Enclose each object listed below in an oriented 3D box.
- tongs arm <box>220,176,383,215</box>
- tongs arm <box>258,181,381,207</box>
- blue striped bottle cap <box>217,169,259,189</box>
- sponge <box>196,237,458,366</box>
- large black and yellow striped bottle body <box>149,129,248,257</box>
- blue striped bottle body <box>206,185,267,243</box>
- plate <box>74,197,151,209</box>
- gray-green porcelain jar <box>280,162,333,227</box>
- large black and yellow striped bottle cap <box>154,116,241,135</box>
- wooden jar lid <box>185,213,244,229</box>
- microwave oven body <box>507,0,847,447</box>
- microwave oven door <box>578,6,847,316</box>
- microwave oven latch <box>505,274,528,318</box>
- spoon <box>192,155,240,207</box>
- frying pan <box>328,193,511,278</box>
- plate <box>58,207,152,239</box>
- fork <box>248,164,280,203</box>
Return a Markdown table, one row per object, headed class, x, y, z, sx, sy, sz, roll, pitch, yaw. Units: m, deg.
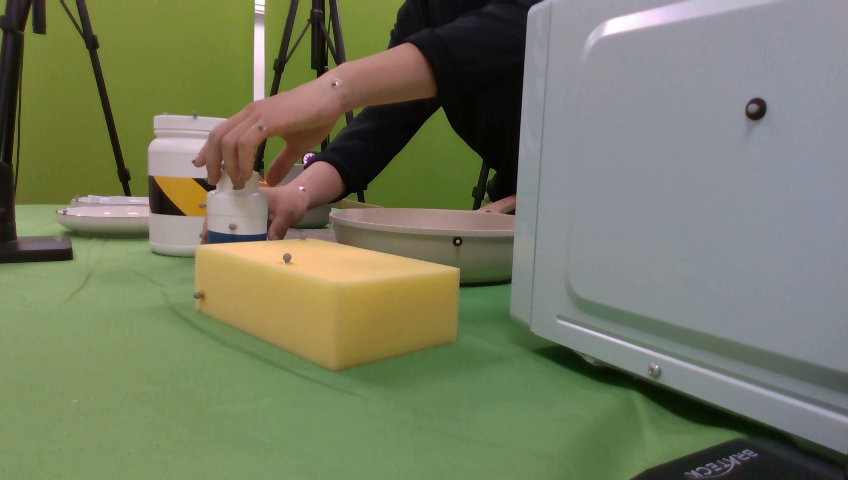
| class | x | y | z | sx | sy | sz | roll | pitch | yaw |
| --- | --- | --- | --- | --- | --- | --- | --- | --- | --- |
| tongs arm | -0.285 | -0.104 | 1.445 | 0.389 | 0.027 | 0.028 | 9 | -4 | -23 |
| tongs arm | -0.241 | -0.095 | 1.373 | 0.387 | 0.026 | 0.050 | 9 | 0 | -37 |
| blue striped bottle cap | -0.202 | -0.066 | 0.656 | 0.044 | 0.020 | 0.044 | -1 | 9 | 0 |
| sponge | -0.087 | 0.039 | 0.500 | 0.206 | 0.061 | 0.119 | 8 | 9 | 44 |
| large black and yellow striped bottle body | -0.315 | -0.075 | 0.854 | 0.131 | 0.184 | 0.130 | 2 | 7 | 0 |
| blue striped bottle body | -0.205 | -0.016 | 0.662 | 0.063 | 0.120 | 0.063 | 2 | 7 | 0 |
| plate | -0.596 | -0.062 | 1.238 | 0.208 | 0.039 | 0.207 | 2 | 8 | 0 |
| gray-green porcelain jar | -0.238 | -0.092 | 1.221 | 0.106 | 0.126 | 0.106 | 2 | 7 | 0 |
| large black and yellow striped bottle cap | -0.314 | -0.158 | 0.843 | 0.115 | 0.019 | 0.115 | 3 | 7 | 0 |
| wooden jar lid | -0.404 | -0.037 | 1.169 | 0.108 | 0.020 | 0.108 | 3 | 7 | 0 |
| microwave oven body | 0.331 | -0.042 | 0.425 | 0.444 | 0.260 | 0.324 | -2 | 8 | -31 |
| microwave oven door | 0.294 | -0.067 | 0.570 | 0.358 | 0.243 | 0.039 | -3 | 9 | -31 |
| microwave oven latch | 0.100 | 0.041 | 0.473 | 0.079 | 0.029 | 0.030 | -2 | 8 | -31 |
| spoon | -0.489 | -0.135 | 1.417 | 0.041 | 0.021 | 0.194 | 3 | -36 | 20 |
| frying pan | 0.072 | -0.030 | 0.883 | 0.305 | 0.102 | 0.490 | 7 | 17 | 28 |
| plate | -0.496 | -0.030 | 1.021 | 0.209 | 0.038 | 0.209 | 2 | 8 | 0 |
| fork | -0.398 | -0.144 | 1.489 | 0.028 | 0.018 | 0.208 | 21 | -24 | 47 |
